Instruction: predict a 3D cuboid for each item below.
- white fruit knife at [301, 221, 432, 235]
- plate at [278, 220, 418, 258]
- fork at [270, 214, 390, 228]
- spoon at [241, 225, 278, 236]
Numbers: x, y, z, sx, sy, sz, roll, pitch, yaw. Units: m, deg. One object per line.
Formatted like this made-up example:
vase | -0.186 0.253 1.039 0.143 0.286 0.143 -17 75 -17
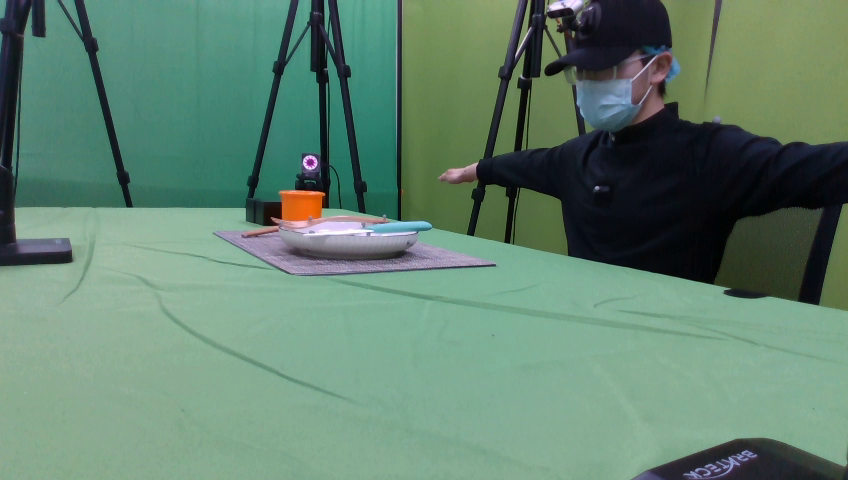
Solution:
white fruit knife | -0.079 -0.016 0.858 0.208 0.016 0.027 -4 12 -38
plate | -0.114 -0.002 0.914 0.209 0.038 0.209 2 7 0
fork | -0.143 -0.031 0.963 0.208 0.018 0.028 -4 19 -35
spoon | -0.232 -0.021 1.082 0.195 0.021 0.041 -3 27 -37
